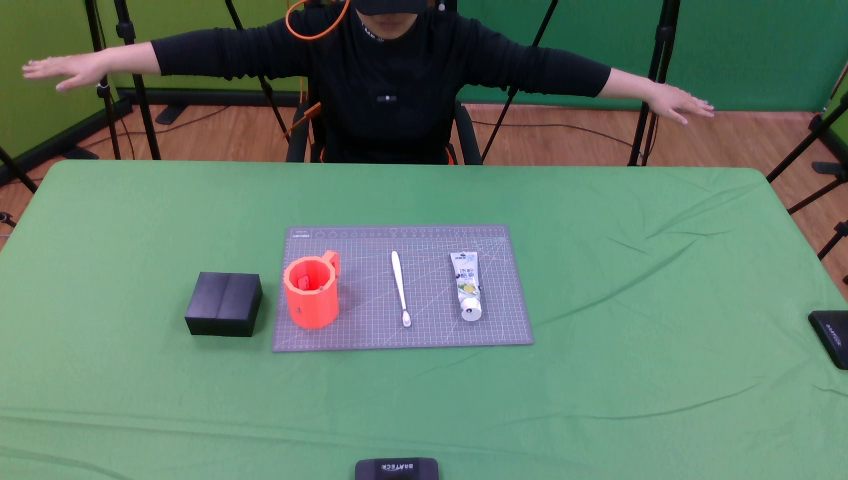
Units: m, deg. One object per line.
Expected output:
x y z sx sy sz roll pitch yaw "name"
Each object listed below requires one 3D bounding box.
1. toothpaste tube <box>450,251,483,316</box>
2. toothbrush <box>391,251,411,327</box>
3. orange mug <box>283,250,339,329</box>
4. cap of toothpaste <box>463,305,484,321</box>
0.084 0.077 1.122 0.055 0.035 0.164 3 41 -8 "toothpaste tube"
-0.044 0.085 1.112 0.014 0.017 0.180 -14 46 1 "toothbrush"
-0.186 0.078 1.052 0.083 0.101 0.126 20 52 15 "orange mug"
0.087 0.127 1.064 0.037 0.037 0.011 2 40 -2 "cap of toothpaste"
